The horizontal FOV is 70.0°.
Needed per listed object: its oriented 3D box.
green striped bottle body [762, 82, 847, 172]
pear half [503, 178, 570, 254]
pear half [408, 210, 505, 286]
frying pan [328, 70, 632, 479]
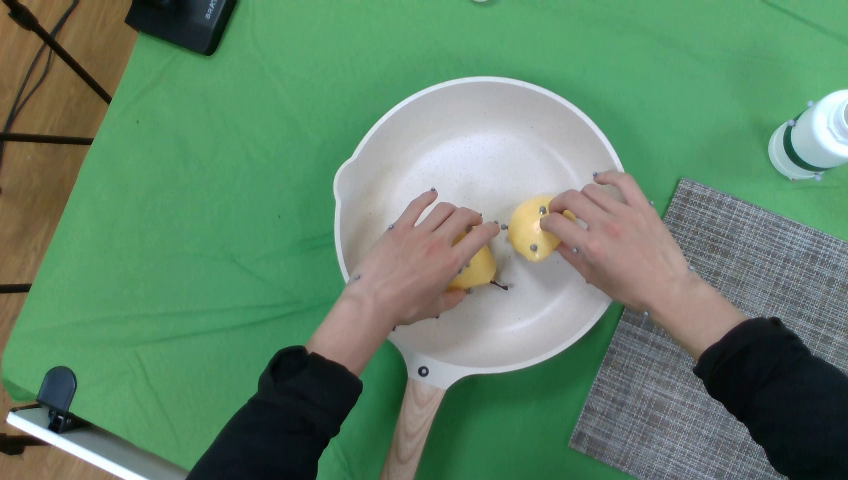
[{"bbox_3d":[0.373,-0.106,0.566,0.063,0.119,0.063,-1,85,7],"label":"green striped bottle body"},{"bbox_3d":[0.106,-0.029,0.602,0.070,0.031,0.087,-22,44,33],"label":"pear half"},{"bbox_3d":[0.038,0.016,0.627,0.109,0.056,0.076,31,96,6],"label":"pear half"},{"bbox_3d":[0.019,0.075,0.600,0.306,0.103,0.486,19,80,8],"label":"frying pan"}]
